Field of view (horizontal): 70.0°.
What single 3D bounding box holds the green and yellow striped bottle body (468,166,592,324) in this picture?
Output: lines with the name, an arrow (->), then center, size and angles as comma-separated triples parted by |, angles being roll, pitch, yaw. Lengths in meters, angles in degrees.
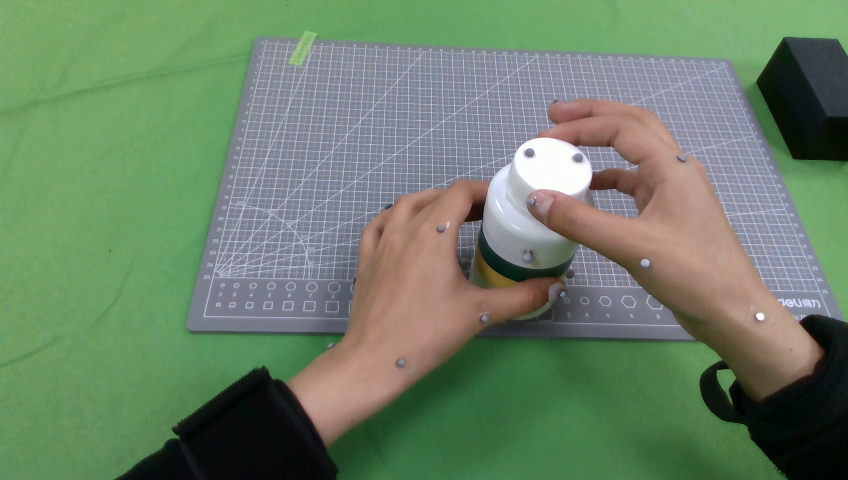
green and yellow striped bottle body -> 0.065, -0.002, 0.377 | 0.063, 0.120, 0.062 | 2, 55, -2

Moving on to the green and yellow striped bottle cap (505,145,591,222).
green and yellow striped bottle cap -> 0.068, -0.032, 0.331 | 0.045, 0.020, 0.045 | 4, 49, -4
